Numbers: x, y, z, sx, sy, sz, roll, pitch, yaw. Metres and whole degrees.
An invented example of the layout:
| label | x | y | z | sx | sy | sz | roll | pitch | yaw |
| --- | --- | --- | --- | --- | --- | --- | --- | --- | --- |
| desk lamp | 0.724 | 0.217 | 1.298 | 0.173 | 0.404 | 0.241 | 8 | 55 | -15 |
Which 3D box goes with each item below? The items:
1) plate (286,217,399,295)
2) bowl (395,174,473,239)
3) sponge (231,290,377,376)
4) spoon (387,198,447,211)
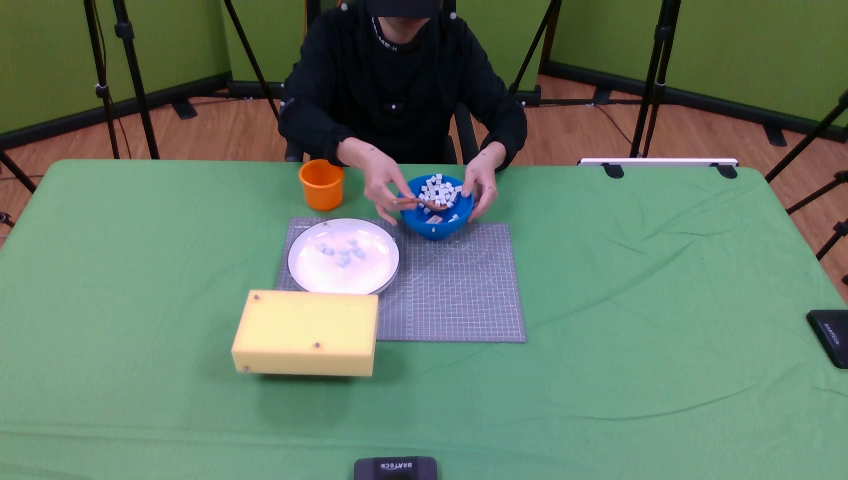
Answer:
| label | x | y | z | sx | sy | sz | roll | pitch | yaw |
| --- | --- | --- | --- | --- | --- | --- | --- | --- | --- |
| plate | -0.150 | 0.041 | 1.131 | 0.209 | 0.038 | 0.208 | 2 | 46 | -2 |
| bowl | 0.020 | -0.054 | 1.198 | 0.151 | 0.077 | 0.150 | 0 | 45 | 0 |
| sponge | -0.180 | 0.144 | 0.949 | 0.207 | 0.061 | 0.117 | 2 | 46 | -2 |
| spoon | -0.014 | -0.071 | 1.148 | 0.041 | 0.021 | 0.194 | 31 | 14 | 27 |
